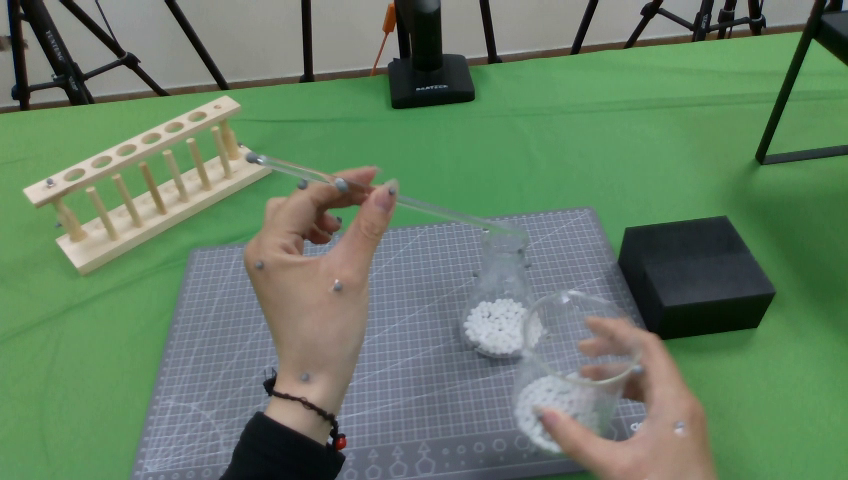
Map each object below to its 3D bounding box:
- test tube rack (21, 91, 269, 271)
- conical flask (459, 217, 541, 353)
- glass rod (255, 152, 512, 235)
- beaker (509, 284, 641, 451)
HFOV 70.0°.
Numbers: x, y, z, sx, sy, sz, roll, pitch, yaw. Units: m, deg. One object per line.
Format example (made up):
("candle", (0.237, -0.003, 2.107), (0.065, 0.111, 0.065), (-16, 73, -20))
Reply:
("test tube rack", (-0.306, -0.074, 0.695), (0.242, 0.086, 0.066), (-36, 53, -28))
("conical flask", (0.067, 0.036, 0.525), (0.075, 0.123, 0.074), (-2, 45, 3))
("glass rod", (-0.013, -0.025, 0.389), (0.201, 0.008, 0.008), (14, 32, -37))
("beaker", (0.097, 0.091, 0.418), (0.074, 0.101, 0.083), (-2, 43, -3))
